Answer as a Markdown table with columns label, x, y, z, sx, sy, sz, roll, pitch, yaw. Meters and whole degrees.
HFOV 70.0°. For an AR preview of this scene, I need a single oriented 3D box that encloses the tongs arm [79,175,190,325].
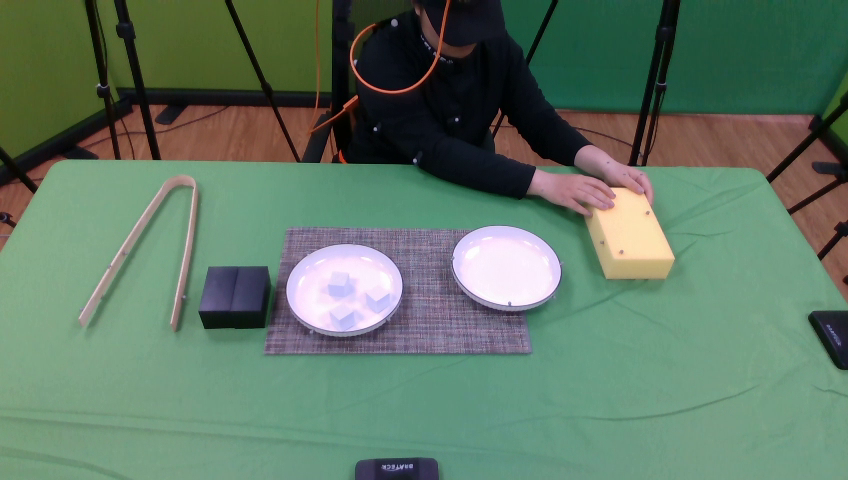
| label | x | y | z | sx | sy | sz | roll | pitch | yaw |
| --- | --- | --- | --- | --- | --- | --- | --- | --- | --- |
| tongs arm | -0.534 | 0.005 | 1.145 | 0.051 | 0.026 | 0.382 | 6 | 45 | 1 |

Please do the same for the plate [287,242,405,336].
| label | x | y | z | sx | sy | sz | roll | pitch | yaw |
| --- | --- | --- | --- | --- | --- | --- | --- | --- | --- |
| plate | -0.138 | 0.090 | 1.085 | 0.208 | 0.039 | 0.206 | 2 | 46 | -2 |

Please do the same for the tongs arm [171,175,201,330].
| label | x | y | z | sx | sy | sz | roll | pitch | yaw |
| --- | --- | --- | --- | --- | --- | --- | --- | --- | --- |
| tongs arm | -0.453 | 0.010 | 1.151 | 0.028 | 0.028 | 0.385 | -6 | 47 | -6 |

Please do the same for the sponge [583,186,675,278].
| label | x | y | z | sx | sy | sz | roll | pitch | yaw |
| --- | --- | --- | --- | --- | --- | --- | --- | --- | --- |
| sponge | 0.404 | -0.019 | 1.215 | 0.118 | 0.061 | 0.205 | -1 | 46 | -4 |

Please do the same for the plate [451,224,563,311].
| label | x | y | z | sx | sy | sz | roll | pitch | yaw |
| --- | --- | --- | --- | --- | --- | --- | --- | --- | --- |
| plate | 0.154 | 0.054 | 1.140 | 0.209 | 0.038 | 0.208 | 2 | 46 | -2 |
